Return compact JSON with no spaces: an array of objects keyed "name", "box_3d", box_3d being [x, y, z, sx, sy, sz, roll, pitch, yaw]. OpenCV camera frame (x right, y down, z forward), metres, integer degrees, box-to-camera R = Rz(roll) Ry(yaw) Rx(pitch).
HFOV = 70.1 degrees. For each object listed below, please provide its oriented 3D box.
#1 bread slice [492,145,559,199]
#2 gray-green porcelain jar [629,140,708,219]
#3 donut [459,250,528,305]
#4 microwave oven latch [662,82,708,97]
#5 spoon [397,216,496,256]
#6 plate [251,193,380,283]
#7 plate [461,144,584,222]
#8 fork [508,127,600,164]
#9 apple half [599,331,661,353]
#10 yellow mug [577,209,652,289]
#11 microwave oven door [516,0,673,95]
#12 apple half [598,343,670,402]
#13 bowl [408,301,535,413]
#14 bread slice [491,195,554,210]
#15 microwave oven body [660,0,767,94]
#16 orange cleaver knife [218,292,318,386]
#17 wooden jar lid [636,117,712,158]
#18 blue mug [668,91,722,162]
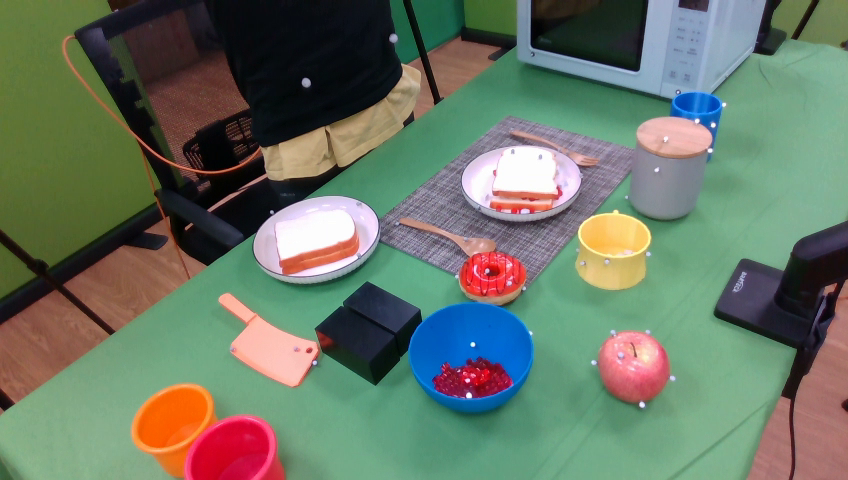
[{"name":"bread slice","box_3d":[0.172,-0.118,1.028,0.107,0.018,0.134,3,44,7]},{"name":"gray-green porcelain jar","box_3d":[0.383,-0.105,0.958,0.106,0.127,0.105,-4,41,4]},{"name":"donut","box_3d":[0.100,0.053,0.873,0.099,0.048,0.098,-5,40,4]},{"name":"microwave oven latch","box_3d":[0.517,-0.298,1.202,0.078,0.029,0.030,28,52,35]},{"name":"spoon","box_3d":[0.032,-0.011,0.972,0.192,0.022,0.041,22,73,29]},{"name":"plate","box_3d":[-0.174,-0.001,0.984,0.209,0.038,0.208,-4,41,4]},{"name":"plate","box_3d":[0.168,-0.095,1.040,0.207,0.039,0.206,-4,40,4]},{"name":"fork","box_3d":[0.240,-0.180,1.142,0.205,0.019,0.028,32,63,34]},{"name":"apple half","box_3d":[0.249,0.134,0.738,0.081,0.081,0.032,-1,46,7]},{"name":"yellow mug","box_3d":[0.279,0.005,0.893,0.099,0.064,0.130,5,41,15]},{"name":"microwave oven door","box_3d":[0.344,-0.458,1.256,0.353,0.245,0.039,26,51,33]},{"name":"apple half","box_3d":[0.247,0.161,0.710,0.081,0.075,0.053,2,47,5]},{"name":"bowl","box_3d":[0.060,0.156,0.739,0.151,0.077,0.150,-4,40,4]},{"name":"bread slice","box_3d":[0.173,-0.098,1.048,0.104,0.019,0.131,2,44,12]},{"name":"microwave oven body","box_3d":[0.473,-0.516,1.313,0.438,0.261,0.327,26,51,34]},{"name":"orange cleaver knife","box_3d":[-0.235,0.136,0.850,0.209,0.012,0.077,25,57,30]},{"name":"wooden jar lid","box_3d":[0.377,-0.151,0.917,0.108,0.021,0.108,-2,41,2]},{"name":"blue mug","box_3d":[0.474,-0.207,1.078,0.082,0.106,0.116,4,42,13]}]
